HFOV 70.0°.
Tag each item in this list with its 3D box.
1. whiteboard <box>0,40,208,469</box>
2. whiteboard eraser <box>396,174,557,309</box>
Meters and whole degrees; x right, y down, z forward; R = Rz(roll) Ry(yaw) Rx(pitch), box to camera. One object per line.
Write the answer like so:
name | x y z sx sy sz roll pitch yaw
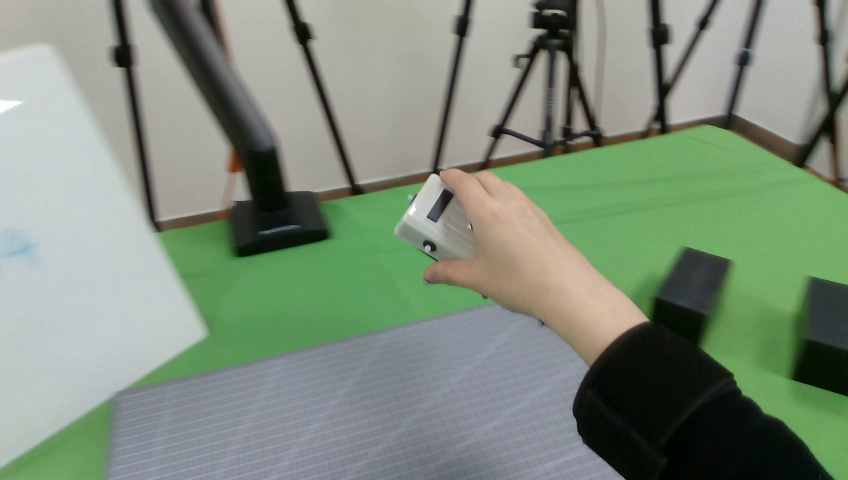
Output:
whiteboard | -0.383 0.009 0.551 0.143 0.307 0.217 3 29 45
whiteboard eraser | 0.039 0.002 0.451 0.112 0.042 0.055 30 55 1
